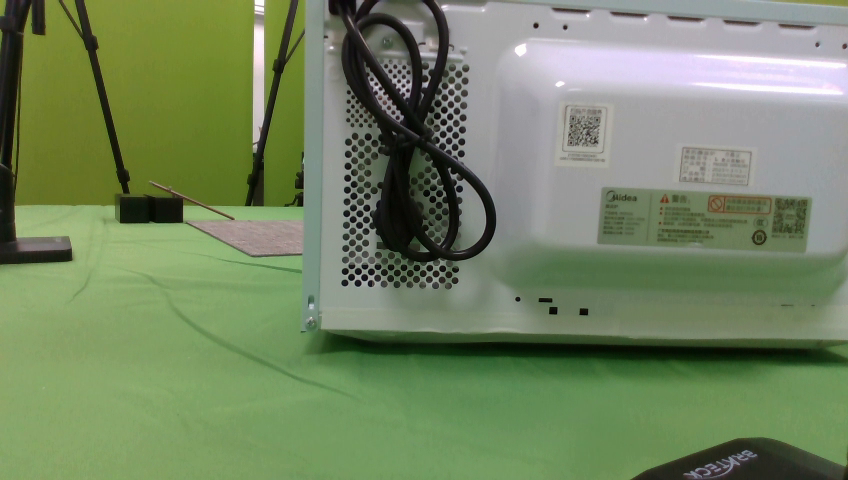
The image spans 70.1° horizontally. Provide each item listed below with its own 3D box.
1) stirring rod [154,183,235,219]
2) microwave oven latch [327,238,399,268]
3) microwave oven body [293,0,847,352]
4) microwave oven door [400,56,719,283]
[{"bbox_3d":[-0.472,-0.079,1.252,0.177,0.006,0.014,27,4,-35],"label":"stirring rod"},{"bbox_3d":[-0.069,0.015,0.694,0.079,0.029,0.030,3,7,-3],"label":"microwave oven latch"},{"bbox_3d":[0.122,-0.055,0.550,0.442,0.260,0.325,3,7,-5],"label":"microwave oven body"},{"bbox_3d":[0.155,-0.077,0.697,0.356,0.243,0.039,2,8,-5],"label":"microwave oven door"}]
